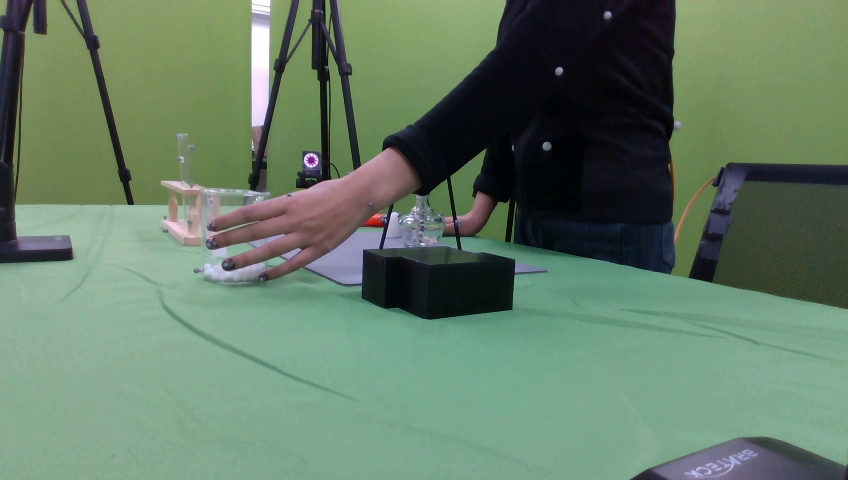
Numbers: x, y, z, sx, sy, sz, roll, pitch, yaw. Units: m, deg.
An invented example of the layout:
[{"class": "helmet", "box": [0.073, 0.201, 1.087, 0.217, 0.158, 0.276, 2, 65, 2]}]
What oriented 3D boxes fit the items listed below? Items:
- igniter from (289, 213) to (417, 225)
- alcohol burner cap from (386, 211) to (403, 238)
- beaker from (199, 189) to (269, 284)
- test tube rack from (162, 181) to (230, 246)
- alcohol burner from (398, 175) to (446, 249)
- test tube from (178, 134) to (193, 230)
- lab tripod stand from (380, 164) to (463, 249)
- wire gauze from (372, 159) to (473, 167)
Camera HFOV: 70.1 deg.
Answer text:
[{"class": "igniter", "box": [-0.144, -0.044, 1.275, 0.278, 0.025, 0.057, -1, -2, -27]}, {"class": "alcohol burner cap", "box": [-0.053, -0.029, 1.107, 0.034, 0.048, 0.034, 3, 9, 0]}, {"class": "beaker", "box": [-0.209, -0.006, 0.676, 0.073, 0.100, 0.084, 7, 8, 27]}, {"class": "test tube rack", "box": [-0.387, -0.050, 1.015, 0.067, 0.085, 0.241, -2, 9, -30]}, {"class": "alcohol burner", "box": [-0.003, -0.046, 0.973, 0.078, 0.119, 0.078, 1, 7, 0]}, {"class": "test tube", "box": [-0.367, -0.089, 0.938, 0.017, 0.150, 0.017, -1, 9, 1]}, {"class": "lab tripod stand", "box": [-0.004, -0.055, 0.967, 0.148, 0.131, 0.148, 2, 9, 0]}, {"class": "wire gauze", "box": [-0.004, -0.122, 0.958, 0.122, 0.011, 0.124, -4, 9, -33]}]
